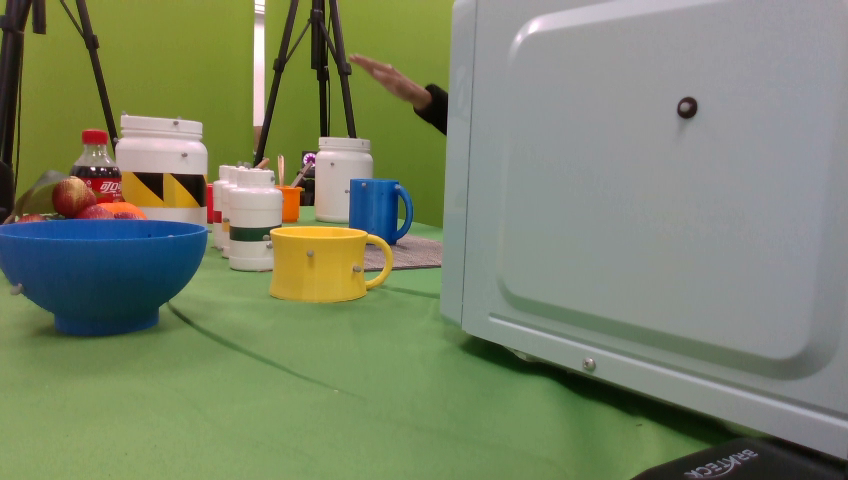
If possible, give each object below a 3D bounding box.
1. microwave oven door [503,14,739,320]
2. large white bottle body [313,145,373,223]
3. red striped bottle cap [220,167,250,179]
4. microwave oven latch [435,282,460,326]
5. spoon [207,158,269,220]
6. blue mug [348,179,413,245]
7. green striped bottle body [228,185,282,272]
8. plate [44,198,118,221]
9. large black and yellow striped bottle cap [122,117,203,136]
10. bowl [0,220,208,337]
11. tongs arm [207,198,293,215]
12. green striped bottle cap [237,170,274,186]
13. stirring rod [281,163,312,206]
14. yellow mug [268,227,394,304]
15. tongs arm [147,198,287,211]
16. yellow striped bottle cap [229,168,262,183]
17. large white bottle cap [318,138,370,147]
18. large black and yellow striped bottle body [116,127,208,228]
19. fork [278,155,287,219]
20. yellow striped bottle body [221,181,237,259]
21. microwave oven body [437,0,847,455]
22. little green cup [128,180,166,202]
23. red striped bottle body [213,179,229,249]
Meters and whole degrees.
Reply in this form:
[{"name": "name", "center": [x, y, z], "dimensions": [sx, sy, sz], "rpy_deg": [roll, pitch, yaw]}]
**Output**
[{"name": "microwave oven door", "center": [0.218, -0.065, 0.600], "dimensions": [0.358, 0.243, 0.039], "rpy_deg": [-4, 10, -41]}, {"name": "large white bottle body", "center": [-0.182, -0.135, 1.362], "dimensions": [0.131, 0.184, 0.130], "rpy_deg": [3, 7, 0]}, {"name": "red striped bottle cap", "center": [-0.281, -0.099, 0.901], "dimensions": [0.044, 0.017, 0.044], "rpy_deg": [-1, 5, 0]}, {"name": "microwave oven latch", "center": [0.044, 0.046, 0.470], "dimensions": [0.079, 0.029, 0.030], "rpy_deg": [-3, 8, -40]}, {"name": "spoon", "center": [-0.380, -0.108, 1.251], "dimensions": [0.041, 0.022, 0.194], "rpy_deg": [4, 51, 39]}, {"name": "blue mug", "center": [-0.071, -0.047, 1.002], "dimensions": [0.116, 0.106, 0.082], "rpy_deg": [6, 9, 26]}, {"name": "green striped bottle body", "center": [-0.208, -0.023, 0.745], "dimensions": [0.063, 0.119, 0.063], "rpy_deg": [2, 7, 0]}, {"name": "plate", "center": [-0.617, -0.056, 1.179], "dimensions": [0.209, 0.038, 0.209], "rpy_deg": [3, 7, 0]}, {"name": "large black and yellow striped bottle cap", "center": [-0.399, -0.174, 0.927], "dimensions": [0.115, 0.019, 0.115], "rpy_deg": [5, 9, -1]}, {"name": "bowl", "center": [-0.251, 0.029, 0.479], "dimensions": [0.151, 0.077, 0.151], "rpy_deg": [2, 7, 0]}, {"name": "tongs arm", "center": [-0.423, -0.084, 1.472], "dimensions": [0.050, 0.026, 0.386], "rpy_deg": [2, 6, 21]}, {"name": "green striped bottle cap", "center": [-0.205, -0.075, 0.737], "dimensions": [0.044, 0.020, 0.044], "rpy_deg": [1, 6, 0]}, {"name": "stirring rod", "center": [-0.292, -0.111, 1.323], "dimensions": [0.014, 0.006, 0.176], "rpy_deg": [2, 47, 30]}, {"name": "yellow mug", "center": [-0.094, 0.023, 0.629], "dimensions": [0.131, 0.064, 0.099], "rpy_deg": [0, 7, -22]}, {"name": "tongs arm", "center": [-0.504, -0.091, 1.513], "dimensions": [0.028, 0.028, 0.389], "rpy_deg": [0, 4, 37]}, {"name": "yellow striped bottle cap", "center": [-0.240, -0.087, 0.816], "dimensions": [0.044, 0.018, 0.044], "rpy_deg": [-3, 5, 1]}, {"name": "large white bottle cap", "center": [-0.179, -0.218, 1.351], "dimensions": [0.115, 0.018, 0.115], "rpy_deg": [2, 8, 0]}, {"name": "large black and yellow striped bottle body", "center": [-0.404, -0.089, 0.937], "dimensions": [0.131, 0.184, 0.130], "rpy_deg": [3, 7, 0]}, {"name": "fork", "center": [-0.318, -0.120, 1.342], "dimensions": [0.028, 0.018, 0.206], "rpy_deg": [0, 52, -13]}, {"name": "yellow striped bottle body", "center": [-0.244, -0.036, 0.823], "dimensions": [0.063, 0.120, 0.063], "rpy_deg": [2, 8, 0]}, {"name": "microwave oven body", "center": [0.279, -0.040, 0.464], "dimensions": [0.444, 0.260, 0.324], "rpy_deg": [-3, 8, -41]}, {"name": "little green cup", "center": [-0.485, -0.087, 1.062], "dimensions": [0.061, 0.038, 0.061], "rpy_deg": [-1, 6, 0]}, {"name": "red striped bottle body", "center": [-0.284, -0.048, 0.909], "dimensions": [0.063, 0.119, 0.063], "rpy_deg": [3, 10, 0]}]
